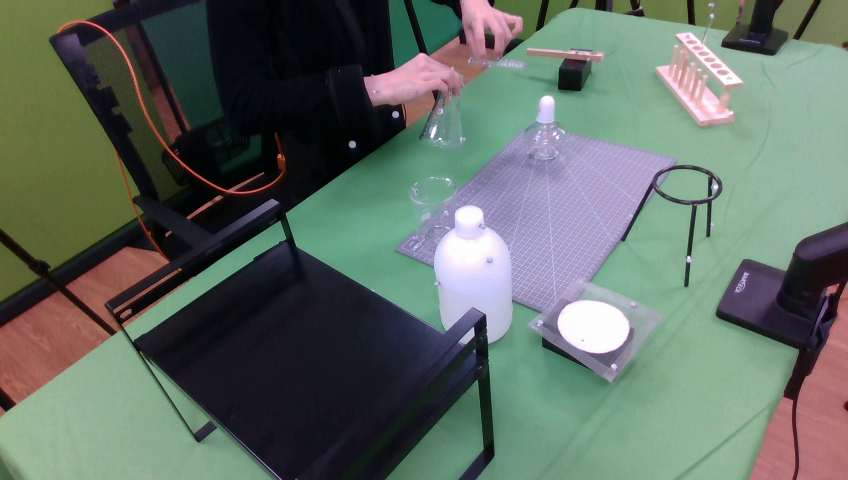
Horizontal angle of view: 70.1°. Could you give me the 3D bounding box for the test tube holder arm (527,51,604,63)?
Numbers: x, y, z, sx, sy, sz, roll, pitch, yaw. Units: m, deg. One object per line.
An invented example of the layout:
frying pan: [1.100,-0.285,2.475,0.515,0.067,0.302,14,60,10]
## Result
test tube holder arm: [0.311,-0.408,1.344,0.177,0.015,0.013,14,38,30]

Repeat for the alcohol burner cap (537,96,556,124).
alcohol burner cap: [0.223,-0.238,1.095,0.034,0.048,0.033,-2,38,2]

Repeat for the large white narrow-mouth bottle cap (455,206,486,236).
large white narrow-mouth bottle cap: [0.057,-0.023,0.734,0.038,0.024,0.037,-4,40,4]

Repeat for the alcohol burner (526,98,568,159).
alcohol burner: [0.228,-0.210,1.118,0.078,0.119,0.077,-5,43,5]

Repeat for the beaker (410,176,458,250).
beaker: [0.022,-0.041,0.964,0.073,0.101,0.084,28,51,35]

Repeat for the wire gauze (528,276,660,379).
wire gauze: [0.214,0.103,0.763,0.124,0.011,0.122,30,52,35]

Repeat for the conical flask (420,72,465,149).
conical flask: [0.040,-0.217,1.011,0.075,0.122,0.075,10,9,-1]

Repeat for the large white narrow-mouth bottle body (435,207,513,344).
large white narrow-mouth bottle body: [0.065,0.041,0.791,0.102,0.195,0.101,-4,41,4]

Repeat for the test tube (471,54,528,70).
test tube: [0.136,-0.312,1.062,0.151,0.017,0.017,-10,32,-45]

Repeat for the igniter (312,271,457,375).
igniter: [-0.068,0.111,0.859,0.274,0.025,0.057,27,61,34]

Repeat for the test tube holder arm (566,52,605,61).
test tube holder arm: [0.352,-0.401,1.325,0.087,0.015,0.010,15,38,31]

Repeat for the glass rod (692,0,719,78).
glass rod: [0.561,-0.401,1.214,0.008,0.200,0.008,-1,48,2]

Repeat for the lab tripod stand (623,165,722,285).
lab tripod stand: [0.365,-0.030,0.874,0.148,0.132,0.147,-6,41,6]

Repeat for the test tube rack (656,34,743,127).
test tube rack: [0.553,-0.331,1.233,0.067,0.085,0.241,-7,40,2]
